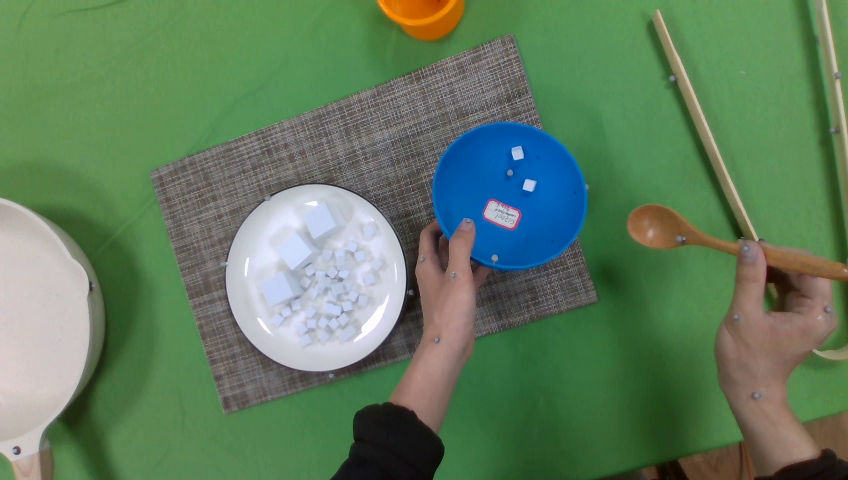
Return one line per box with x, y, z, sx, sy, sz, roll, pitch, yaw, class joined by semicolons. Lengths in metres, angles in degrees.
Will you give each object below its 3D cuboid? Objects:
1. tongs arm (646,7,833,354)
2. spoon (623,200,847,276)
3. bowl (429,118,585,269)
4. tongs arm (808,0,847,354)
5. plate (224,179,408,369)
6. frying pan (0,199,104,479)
0.311;-0.059;0.611;0.028;0.028;0.387;-25;89;7;tongs arm
0.238;0.001;0.484;0.022;0.192;0.042;-14;110;-24;spoon
0.076;-0.037;0.608;0.151;0.077;0.150;1;75;-4;bowl
0.387;-0.081;0.594;0.050;0.026;0.384;-11;92;10;tongs arm
-0.117;0.037;0.672;0.207;0.039;0.207;0;92;9;plate
-0.477;0.190;0.704;0.306;0.103;0.485;-21;80;10;frying pan
